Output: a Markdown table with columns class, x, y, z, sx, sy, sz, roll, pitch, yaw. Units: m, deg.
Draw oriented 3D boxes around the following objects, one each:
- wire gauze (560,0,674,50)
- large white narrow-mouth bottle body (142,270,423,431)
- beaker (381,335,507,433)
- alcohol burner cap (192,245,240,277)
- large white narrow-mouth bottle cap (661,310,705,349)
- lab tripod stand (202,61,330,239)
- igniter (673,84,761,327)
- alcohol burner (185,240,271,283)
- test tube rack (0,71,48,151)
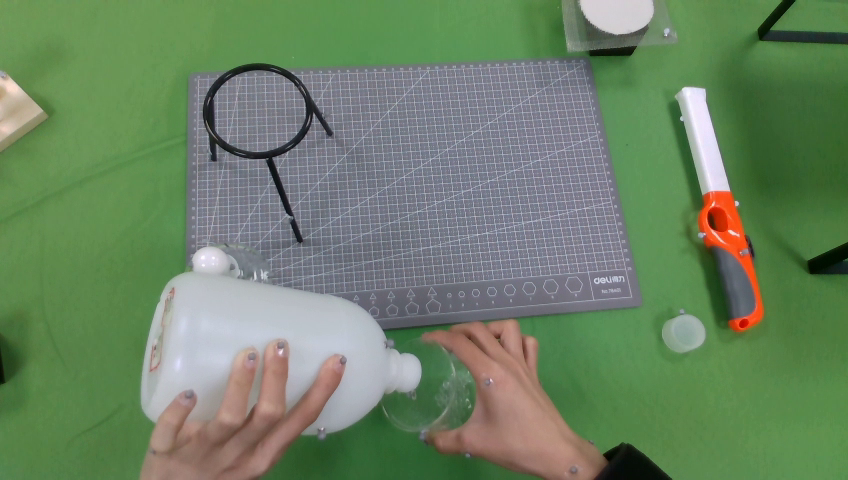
| class | x | y | z | sx | sy | sz | roll | pitch | yaw |
| --- | --- | --- | --- | --- | --- | --- | --- | --- | --- |
| wire gauze | 0.209 | -0.268 | 0.674 | 0.121 | 0.011 | 0.124 | -3 | 73 | -6 |
| large white narrow-mouth bottle body | -0.089 | 0.086 | 0.439 | 0.196 | 0.101 | 0.101 | 14 | 68 | -30 |
| beaker | 0.019 | 0.128 | 0.524 | 0.083 | 0.101 | 0.073 | -2 | 71 | 36 |
| alcohol burner cap | -0.174 | 0.021 | 0.501 | 0.034 | 0.048 | 0.033 | 1 | 77 | -4 |
| large white narrow-mouth bottle cap | 0.259 | 0.090 | 0.607 | 0.038 | 0.024 | 0.037 | 1 | 71 | -3 |
| lab tripod stand | -0.142 | -0.088 | 0.567 | 0.148 | 0.132 | 0.147 | 2 | 72 | -6 |
| igniter | 0.313 | -0.044 | 0.650 | 0.057 | 0.025 | 0.274 | -1 | 72 | -16 |
| alcohol burner | -0.177 | 0.031 | 0.535 | 0.078 | 0.119 | 0.077 | 2 | 70 | -6 |
| test tube rack | -0.494 | -0.083 | 0.562 | 0.066 | 0.085 | 0.242 | 42 | 73 | 9 |
